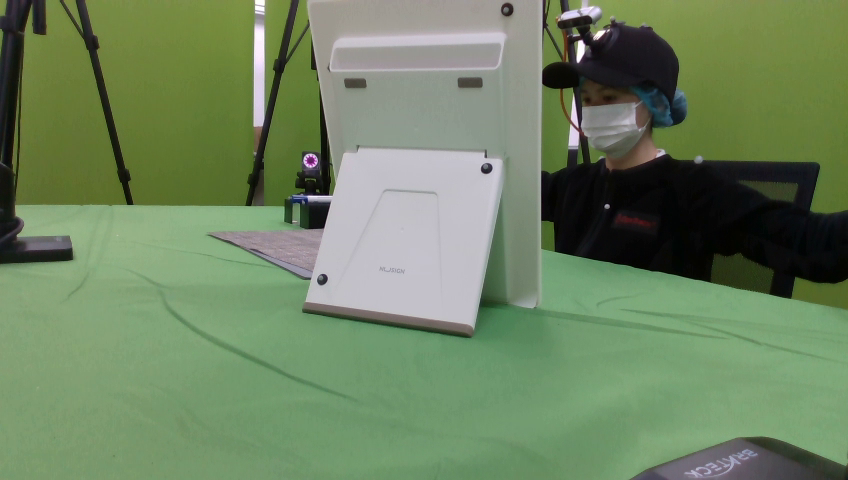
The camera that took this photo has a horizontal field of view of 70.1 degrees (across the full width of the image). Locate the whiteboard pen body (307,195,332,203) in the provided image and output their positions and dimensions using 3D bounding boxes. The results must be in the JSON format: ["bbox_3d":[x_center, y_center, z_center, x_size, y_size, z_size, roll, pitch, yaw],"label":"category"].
[{"bbox_3d":[-0.195,-0.082,1.223,0.141,0.017,0.017,-2,9,-33],"label":"whiteboard pen body"}]

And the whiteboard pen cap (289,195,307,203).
[{"bbox_3d":[-0.247,-0.081,1.189,0.033,0.018,0.018,-4,10,-32],"label":"whiteboard pen cap"}]

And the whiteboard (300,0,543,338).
[{"bbox_3d":[-0.020,-0.050,0.523,0.216,0.305,0.144,6,27,22],"label":"whiteboard"}]
